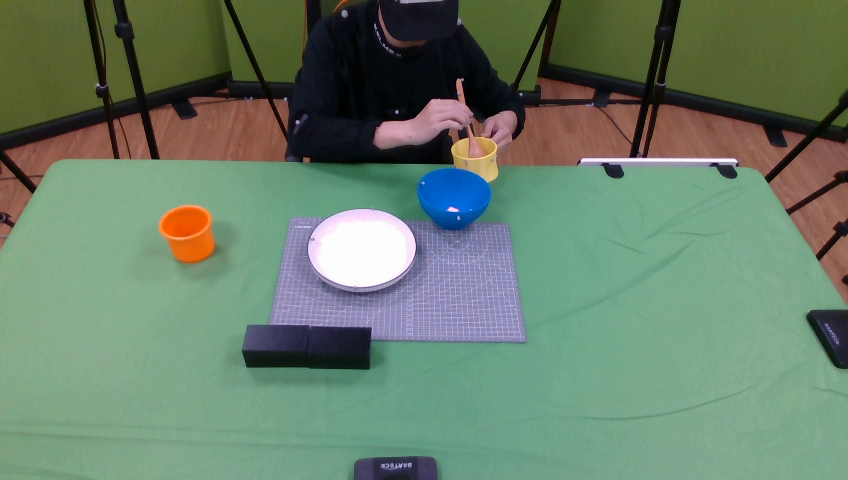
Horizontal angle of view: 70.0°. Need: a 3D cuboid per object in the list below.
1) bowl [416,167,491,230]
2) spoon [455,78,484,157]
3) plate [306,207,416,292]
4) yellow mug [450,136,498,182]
[{"bbox_3d":[0.057,-0.074,1.231,0.151,0.077,0.150,2,42,-2],"label":"bowl"},{"bbox_3d":[0.090,-0.241,1.267,0.041,0.021,0.194,-17,94,-17],"label":"spoon"},{"bbox_3d":[-0.119,0.021,1.153,0.209,0.038,0.208,2,46,-2],"label":"plate"},{"bbox_3d":[0.114,-0.182,1.319,0.100,0.064,0.130,7,38,19],"label":"yellow mug"}]
